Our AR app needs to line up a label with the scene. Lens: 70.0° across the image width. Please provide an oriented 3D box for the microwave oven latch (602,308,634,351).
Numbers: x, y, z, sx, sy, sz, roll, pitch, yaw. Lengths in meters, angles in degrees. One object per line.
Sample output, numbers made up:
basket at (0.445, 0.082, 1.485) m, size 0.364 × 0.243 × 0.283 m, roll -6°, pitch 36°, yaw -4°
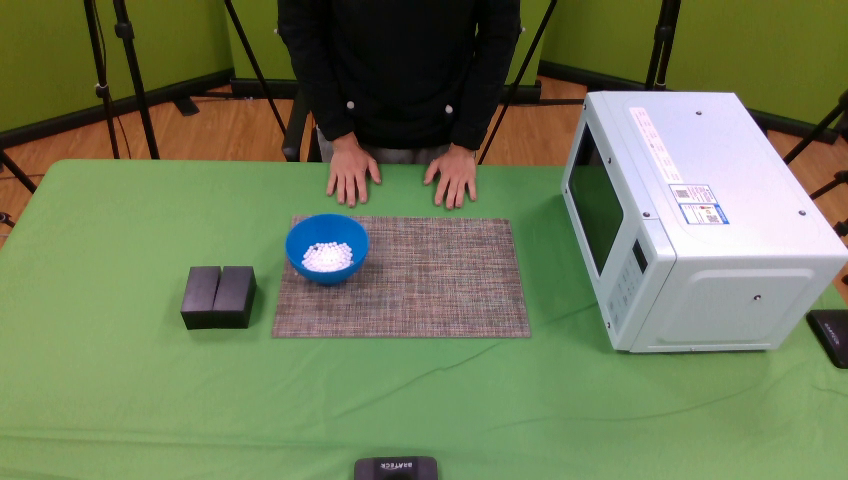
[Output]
microwave oven latch at (0.332, 0.153, 1.044) m, size 0.030 × 0.029 × 0.078 m, roll -1°, pitch 45°, yaw -4°

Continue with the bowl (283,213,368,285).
bowl at (-0.178, 0.030, 1.114) m, size 0.151 × 0.077 × 0.150 m, roll 3°, pitch 45°, yaw -2°

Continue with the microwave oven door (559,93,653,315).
microwave oven door at (0.327, -0.074, 1.123) m, size 0.039 × 0.245 × 0.353 m, roll -1°, pitch 46°, yaw -5°

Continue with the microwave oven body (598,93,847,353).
microwave oven body at (0.475, -0.041, 1.109) m, size 0.326 × 0.261 × 0.438 m, roll -1°, pitch 45°, yaw -4°
